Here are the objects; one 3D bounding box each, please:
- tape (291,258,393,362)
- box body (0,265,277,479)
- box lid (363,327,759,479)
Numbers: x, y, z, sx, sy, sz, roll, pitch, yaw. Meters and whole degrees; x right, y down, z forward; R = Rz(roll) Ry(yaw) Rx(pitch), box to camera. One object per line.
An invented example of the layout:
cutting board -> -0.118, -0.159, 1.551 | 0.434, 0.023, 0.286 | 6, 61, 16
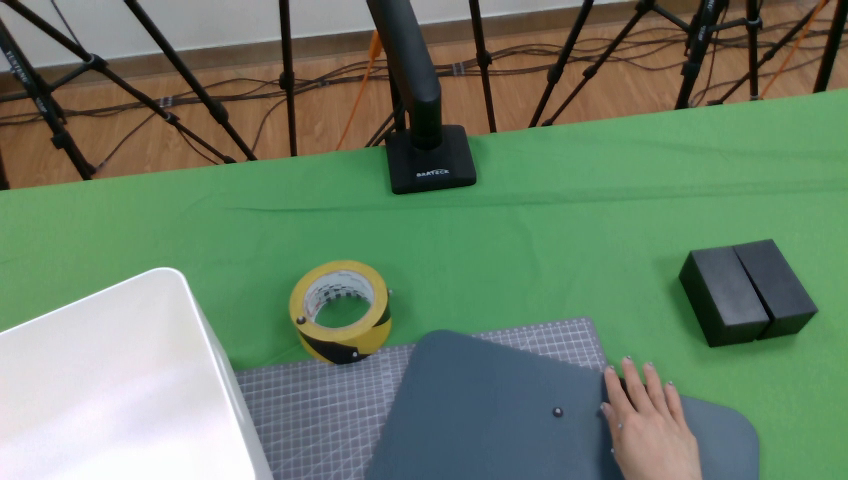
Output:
tape -> -0.094, 0.079, 0.698 | 0.117, 0.053, 0.115 | -1, 51, 1
box body -> -0.329, 0.221, 0.531 | 0.364, 0.162, 0.251 | -25, 56, -15
box lid -> 0.134, 0.239, 0.594 | 0.370, 0.015, 0.261 | 14, 55, 12
